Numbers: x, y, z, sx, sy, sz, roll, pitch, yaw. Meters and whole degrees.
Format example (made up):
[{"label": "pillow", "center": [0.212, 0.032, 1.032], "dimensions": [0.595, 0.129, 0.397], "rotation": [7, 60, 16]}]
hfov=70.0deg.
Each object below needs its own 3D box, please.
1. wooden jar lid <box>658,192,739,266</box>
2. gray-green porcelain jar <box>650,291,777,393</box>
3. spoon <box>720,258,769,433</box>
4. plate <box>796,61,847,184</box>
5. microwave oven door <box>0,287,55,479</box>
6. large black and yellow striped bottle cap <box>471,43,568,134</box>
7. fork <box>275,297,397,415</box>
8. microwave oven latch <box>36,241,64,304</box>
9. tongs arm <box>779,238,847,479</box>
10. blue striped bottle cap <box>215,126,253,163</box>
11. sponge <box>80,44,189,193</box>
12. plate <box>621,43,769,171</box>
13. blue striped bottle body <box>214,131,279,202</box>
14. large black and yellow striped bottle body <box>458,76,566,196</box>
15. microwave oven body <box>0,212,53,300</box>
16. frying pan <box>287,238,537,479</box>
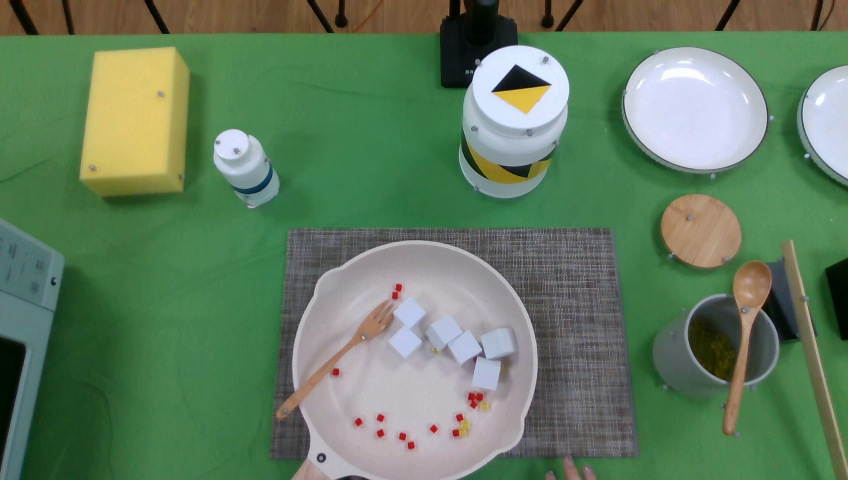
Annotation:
[{"label": "wooden jar lid", "center": [0.376, -0.014, 0.835], "dimensions": [0.108, 0.021, 0.107], "rotation": [0, 72, 1]}, {"label": "gray-green porcelain jar", "center": [0.339, 0.128, 0.729], "dimensions": [0.106, 0.127, 0.105], "rotation": [0, 71, 0]}, {"label": "spoon", "center": [0.344, 0.112, 0.660], "dimensions": [0.041, 0.022, 0.193], "rotation": [17, 75, 2]}, {"label": "plate", "center": [0.640, -0.162, 0.875], "dimensions": [0.209, 0.038, 0.207], "rotation": [0, 71, 0]}, {"label": "microwave oven door", "center": [-0.497, 0.214, 0.618], "dimensions": [0.039, 0.245, 0.353], "rotation": [0, 71, 1]}, {"label": "large black and yellow striped bottle cap", "center": [0.113, -0.181, 0.716], "dimensions": [0.115, 0.019, 0.114], "rotation": [0, 72, 0]}, {"label": "fork", "center": [-0.104, 0.139, 0.743], "dimensions": [0.028, 0.019, 0.207], "rotation": [43, 51, 7]}, {"label": "microwave oven latch", "center": [-0.492, 0.041, 0.785], "dimensions": [0.030, 0.029, 0.078], "rotation": [3, 72, 1]}, {"label": "tongs arm", "center": [0.489, 0.183, 0.721], "dimensions": [0.051, 0.026, 0.383], "rotation": [-7, 83, -6]}, {"label": "blue striped bottle cap", "center": [-0.239, -0.120, 0.762], "dimensions": [0.044, 0.021, 0.044], "rotation": [0, 72, 0]}, {"label": "sponge", "center": [-0.409, -0.175, 0.866], "dimensions": [0.118, 0.061, 0.205], "rotation": [-5, 72, -2]}, {"label": "plate", "center": [0.390, -0.192, 0.887], "dimensions": [0.208, 0.039, 0.206], "rotation": [0, 71, 0]}, {"label": "blue striped bottle body", "center": [-0.238, -0.102, 0.810], "dimensions": [0.063, 0.121, 0.062], "rotation": [0, 70, 0]}, {"label": "large black and yellow striped bottle body", "center": [0.112, -0.151, 0.795], "dimensions": [0.131, 0.185, 0.130], "rotation": [0, 70, 0]}, {"label": "microwave oven body", "center": [-0.642, 0.175, 0.636], "dimensions": [0.326, 0.261, 0.439], "rotation": [1, 71, 0]}, {"label": "frying pan", "center": [-0.079, 0.212, 0.708], "dimensions": [0.305, 0.103, 0.487], "rotation": [39, 67, 13]}]
